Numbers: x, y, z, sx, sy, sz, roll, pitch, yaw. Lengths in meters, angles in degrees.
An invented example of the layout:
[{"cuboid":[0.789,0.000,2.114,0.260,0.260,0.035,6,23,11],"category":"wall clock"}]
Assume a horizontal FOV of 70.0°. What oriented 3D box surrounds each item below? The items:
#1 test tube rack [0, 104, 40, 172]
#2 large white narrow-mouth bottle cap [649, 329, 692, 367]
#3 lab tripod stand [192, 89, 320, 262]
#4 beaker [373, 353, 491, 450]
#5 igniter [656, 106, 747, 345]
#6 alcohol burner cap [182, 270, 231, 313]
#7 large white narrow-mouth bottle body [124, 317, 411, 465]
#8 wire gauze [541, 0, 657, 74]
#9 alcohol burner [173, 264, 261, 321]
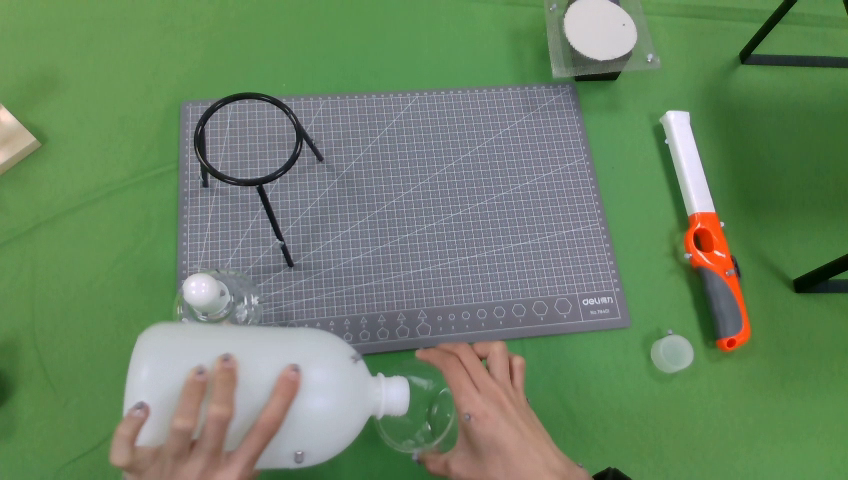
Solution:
[{"cuboid":[-0.505,-0.057,0.566,0.066,0.085,0.242,42,72,10],"category":"test tube rack"},{"cuboid":[0.249,0.110,0.613,0.038,0.024,0.037,1,70,-4],"category":"large white narrow-mouth bottle cap"},{"cuboid":[-0.153,-0.065,0.574,0.148,0.132,0.147,2,70,-6],"category":"lab tripod stand"},{"cuboid":[0.009,0.144,0.528,0.083,0.101,0.073,4,72,28],"category":"beaker"},{"cuboid":[0.301,-0.023,0.660,0.057,0.025,0.274,-1,70,-17],"category":"igniter"},{"cuboid":[-0.183,0.042,0.505,0.034,0.048,0.033,1,75,-5],"category":"alcohol burner cap"},{"cuboid":[-0.107,0.112,0.448,0.195,0.102,0.101,5,69,-16],"category":"large white narrow-mouth bottle body"},{"cuboid":[0.195,-0.246,0.690,0.121,0.011,0.124,-3,71,-6],"category":"wire gauze"},{"cuboid":[-0.187,0.053,0.538,0.078,0.119,0.077,3,68,-6],"category":"alcohol burner"}]
